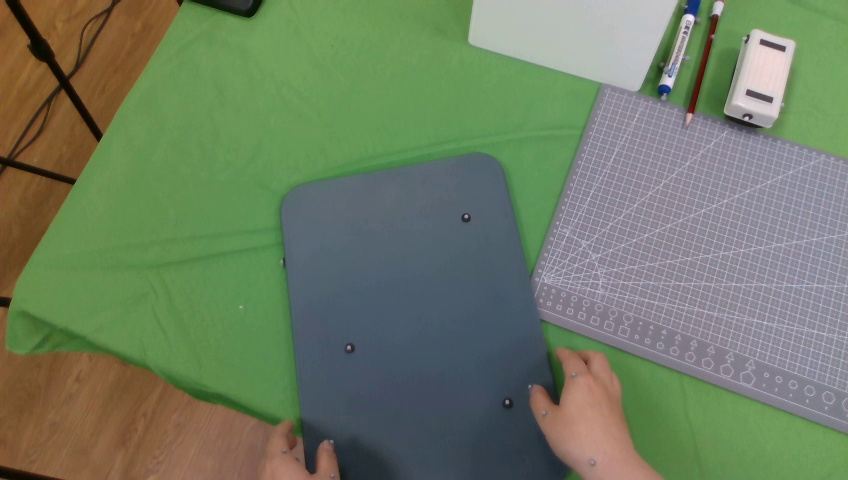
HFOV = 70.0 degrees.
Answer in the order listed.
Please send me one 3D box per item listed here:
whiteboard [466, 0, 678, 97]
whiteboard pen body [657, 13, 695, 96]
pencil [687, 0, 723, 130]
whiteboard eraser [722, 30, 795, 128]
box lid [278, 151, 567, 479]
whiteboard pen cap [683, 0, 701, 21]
[{"bbox_3d":[0.188,-0.345,0.655,0.216,0.308,0.143,20,54,9],"label":"whiteboard"},{"bbox_3d":[0.307,-0.234,0.732,0.017,0.017,0.140,21,74,9],"label":"whiteboard pen body"},{"bbox_3d":[0.337,-0.214,0.728,0.012,0.012,0.193,18,73,8],"label":"pencil"},{"bbox_3d":[0.386,-0.185,0.701,0.055,0.042,0.112,19,74,10],"label":"whiteboard eraser"},{"bbox_3d":[-0.012,0.084,0.645,0.263,0.015,0.369,-10,72,-1],"label":"box lid"},{"bbox_3d":[0.331,-0.285,0.747,0.018,0.018,0.033,19,72,9],"label":"whiteboard pen cap"}]
